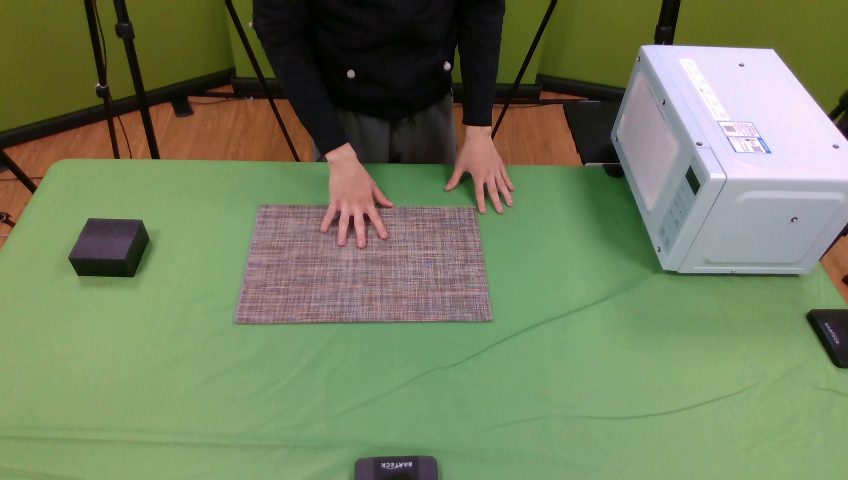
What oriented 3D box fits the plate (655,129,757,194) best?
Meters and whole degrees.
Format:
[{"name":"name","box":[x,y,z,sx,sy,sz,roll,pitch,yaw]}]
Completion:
[{"name":"plate","box":[0.601,-0.165,1.305,0.209,0.038,0.208,1,46,-1]}]

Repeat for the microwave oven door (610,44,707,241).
[{"name":"microwave oven door","box":[0.474,-0.208,1.250,0.039,0.245,0.353,0,47,-3]}]

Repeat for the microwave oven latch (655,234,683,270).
[{"name":"microwave oven latch","box":[0.473,0.021,1.175,0.030,0.029,0.078,2,46,-1]}]

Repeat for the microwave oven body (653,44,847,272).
[{"name":"microwave oven body","box":[0.620,-0.172,1.234,0.326,0.261,0.439,0,46,-3]}]
